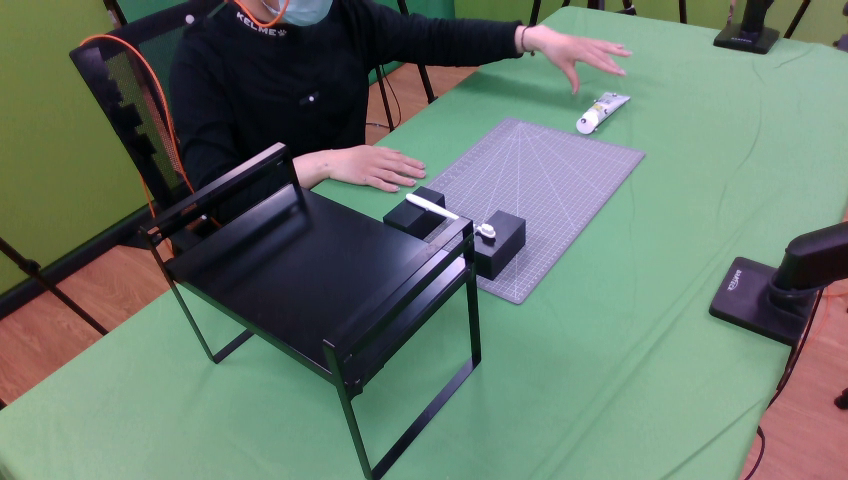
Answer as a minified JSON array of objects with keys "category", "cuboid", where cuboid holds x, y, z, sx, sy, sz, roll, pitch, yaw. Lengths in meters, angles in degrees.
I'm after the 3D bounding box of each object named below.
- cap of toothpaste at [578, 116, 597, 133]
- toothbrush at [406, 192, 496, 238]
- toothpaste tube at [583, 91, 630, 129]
[{"category":"cap of toothpaste","cuboid":[0.316,-0.225,1.172,0.037,0.037,0.011,16,45,24]},{"category":"toothbrush","cuboid":[0.038,-0.043,0.937,0.180,0.017,0.014,26,64,35]},{"category":"toothpaste tube","cuboid":[0.364,-0.266,1.223,0.054,0.034,0.165,25,46,24]}]
